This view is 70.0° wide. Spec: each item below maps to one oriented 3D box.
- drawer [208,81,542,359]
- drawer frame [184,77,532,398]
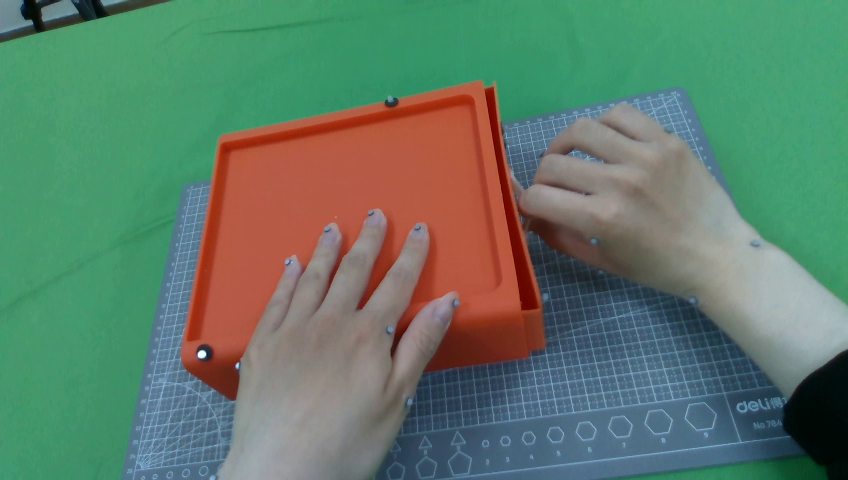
[{"bbox_3d":[-0.032,-0.007,0.436,0.211,0.074,0.192,-10,56,7],"label":"drawer"},{"bbox_3d":[-0.042,-0.004,0.437,0.213,0.083,0.199,-11,56,8],"label":"drawer frame"}]
